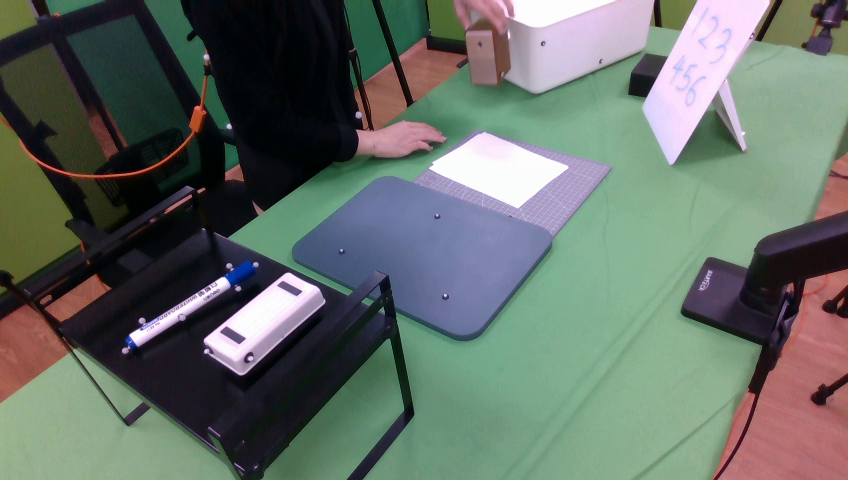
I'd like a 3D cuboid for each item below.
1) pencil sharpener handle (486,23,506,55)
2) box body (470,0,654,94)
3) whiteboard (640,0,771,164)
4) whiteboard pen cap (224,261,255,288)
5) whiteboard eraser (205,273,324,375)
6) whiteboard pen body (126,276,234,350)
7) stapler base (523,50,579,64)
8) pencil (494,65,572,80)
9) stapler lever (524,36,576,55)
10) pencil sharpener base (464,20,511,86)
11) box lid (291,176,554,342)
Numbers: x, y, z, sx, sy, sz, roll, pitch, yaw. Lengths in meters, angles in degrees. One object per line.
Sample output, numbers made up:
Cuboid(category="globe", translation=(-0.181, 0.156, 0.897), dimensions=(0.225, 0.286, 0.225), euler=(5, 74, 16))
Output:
Cuboid(category="pencil sharpener handle", translation=(0.149, -0.405, 1.206), dimensions=(0.036, 0.068, 0.030), euler=(7, 41, 30))
Cuboid(category="box body", translation=(0.319, -0.498, 1.405), dimensions=(0.365, 0.161, 0.252), euler=(-26, 43, -21))
Cuboid(category="whiteboard", translation=(0.543, -0.299, 1.076), dimensions=(0.144, 0.305, 0.216), euler=(12, 40, -7))
Cuboid(category="whiteboard pen cap", translation=(-0.207, 0.039, 0.677), dimensions=(0.033, 0.018, 0.018), euler=(-36, 47, -18))
Cuboid(category="whiteboard eraser", translation=(-0.157, 0.084, 0.605), dimensions=(0.055, 0.042, 0.113), euler=(24, 49, 30))
Cuboid(category="whiteboard pen body", translation=(-0.251, 0.070, 0.649), dimensions=(0.141, 0.017, 0.017), euler=(-36, 48, -26))
Cuboid(category="stapler base", translation=(0.301, -0.436, 1.434), dimensions=(0.130, 0.024, 0.041), euler=(5, 40, 17))
Cuboid(category="pencil", translation=(0.249, -0.390, 1.398), dimensions=(0.192, 0.012, 0.012), euler=(18, 46, 28))
Cuboid(category="stapler lever", translation=(0.296, -0.456, 1.418), dimensions=(0.117, 0.040, 0.027), euler=(4, 40, 17))
Cuboid(category="pencil sharpener base", translation=(0.127, -0.365, 1.180), dimensions=(0.061, 0.107, 0.077), euler=(9, 42, 28))
Cuboid(category="box lid", translation=(-0.005, 0.011, 0.972), dimensions=(0.368, 0.015, 0.264), euler=(21, 49, 30))
